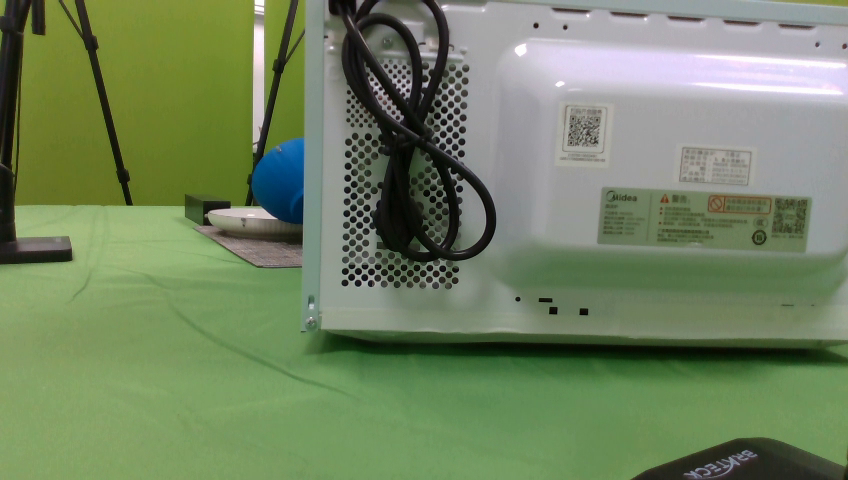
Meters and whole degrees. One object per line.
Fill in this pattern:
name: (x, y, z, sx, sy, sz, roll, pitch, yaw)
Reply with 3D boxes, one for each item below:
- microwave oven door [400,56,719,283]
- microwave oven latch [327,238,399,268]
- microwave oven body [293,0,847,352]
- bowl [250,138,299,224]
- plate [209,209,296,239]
microwave oven door: (0.155, -0.078, 0.698, 0.356, 0.243, 0.039, 2, 8, -5)
microwave oven latch: (-0.069, 0.015, 0.694, 0.079, 0.029, 0.030, 3, 7, -3)
microwave oven body: (0.122, -0.055, 0.550, 0.442, 0.260, 0.325, 3, 7, -5)
bowl: (-0.183, -0.074, 0.937, 0.152, 0.151, 0.076, -3, 43, -35)
plate: (-0.271, -0.029, 1.074, 0.208, 0.039, 0.207, 3, 7, 0)
